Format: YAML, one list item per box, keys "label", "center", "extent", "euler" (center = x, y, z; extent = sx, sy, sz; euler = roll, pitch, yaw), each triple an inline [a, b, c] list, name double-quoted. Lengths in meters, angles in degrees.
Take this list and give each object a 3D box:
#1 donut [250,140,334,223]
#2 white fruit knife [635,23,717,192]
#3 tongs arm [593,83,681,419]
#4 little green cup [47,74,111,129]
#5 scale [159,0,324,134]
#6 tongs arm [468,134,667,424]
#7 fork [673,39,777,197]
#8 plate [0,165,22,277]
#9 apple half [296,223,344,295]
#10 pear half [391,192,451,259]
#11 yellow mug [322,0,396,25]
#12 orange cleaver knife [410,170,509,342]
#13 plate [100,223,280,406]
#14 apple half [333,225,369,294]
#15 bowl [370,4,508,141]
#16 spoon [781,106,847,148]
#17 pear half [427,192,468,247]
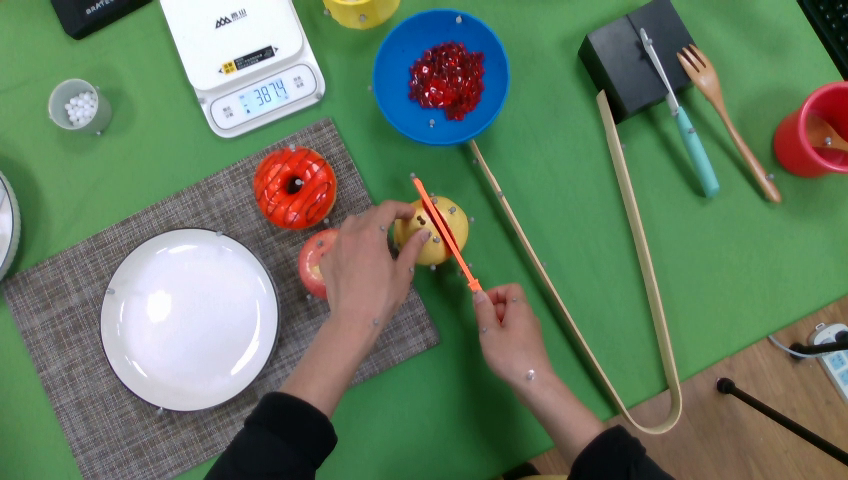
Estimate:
- label: "donut"
  center: [-0.153, -0.068, 0.704]
  extent: [0.099, 0.048, 0.099]
  euler: [0, 88, 4]
- label: "white fruit knife"
  center: [0.279, -0.145, 0.674]
  extent: [0.016, 0.027, 0.208]
  euler: [-29, 100, 0]
- label: "tongs arm"
  center: [0.241, 0.008, 0.694]
  extent: [0.028, 0.028, 0.386]
  euler: [-12, 86, -7]
- label: "little green cup"
  center: [-0.413, -0.163, 0.730]
  extent: [0.061, 0.039, 0.061]
  euler: [0, 86, 3]
- label: "scale"
  center: [-0.220, -0.243, 0.729]
  extent: [0.148, 0.031, 0.200]
  euler: [-23, 86, 2]
- label: "tongs arm"
  center: [0.160, 0.039, 0.691]
  extent: [0.051, 0.026, 0.384]
  euler: [-27, 86, -4]
- label: "fork"
  center: [0.341, -0.133, 0.678]
  extent: [0.028, 0.018, 0.208]
  euler: [-36, 101, -3]
- label: "plate"
  center: [-0.580, -0.019, 0.729]
  extent: [0.207, 0.039, 0.207]
  euler: [0, 86, 3]
- label: "apple half"
  center: [-0.115, 0.020, 0.681]
  extent: [0.053, 0.075, 0.080]
  euler: [7, 89, 7]
- label: "pear half"
  center: [-0.010, -0.012, 0.664]
  extent: [0.056, 0.110, 0.076]
  euler: [-36, 76, 4]
- label: "yellow mug"
  center: [-0.094, -0.322, 0.711]
  extent: [0.130, 0.064, 0.100]
  euler: [30, 88, 5]
- label: "orange cleaver knife"
  center: [0.036, 0.013, 0.660]
  extent: [0.012, 0.077, 0.211]
  euler: [-29, 88, 2]
- label: "plate"
  center: [-0.265, 0.084, 0.702]
  extent: [0.209, 0.038, 0.208]
  euler: [0, 86, 3]
- label: "apple half"
  center: [-0.077, 0.024, 0.678]
  extent: [0.033, 0.081, 0.081]
  euler: [6, 86, 6]
- label: "bowl"
  center: [0.018, -0.179, 0.691]
  extent: [0.151, 0.077, 0.151]
  euler: [0, 87, 3]
- label: "spoon"
  center: [0.455, -0.092, 0.630]
  extent: [0.041, 0.022, 0.191]
  euler: [-32, 41, 0]
- label: "pear half"
  center: [0.030, -0.029, 0.676]
  extent: [0.031, 0.088, 0.070]
  euler: [-37, 81, -8]
